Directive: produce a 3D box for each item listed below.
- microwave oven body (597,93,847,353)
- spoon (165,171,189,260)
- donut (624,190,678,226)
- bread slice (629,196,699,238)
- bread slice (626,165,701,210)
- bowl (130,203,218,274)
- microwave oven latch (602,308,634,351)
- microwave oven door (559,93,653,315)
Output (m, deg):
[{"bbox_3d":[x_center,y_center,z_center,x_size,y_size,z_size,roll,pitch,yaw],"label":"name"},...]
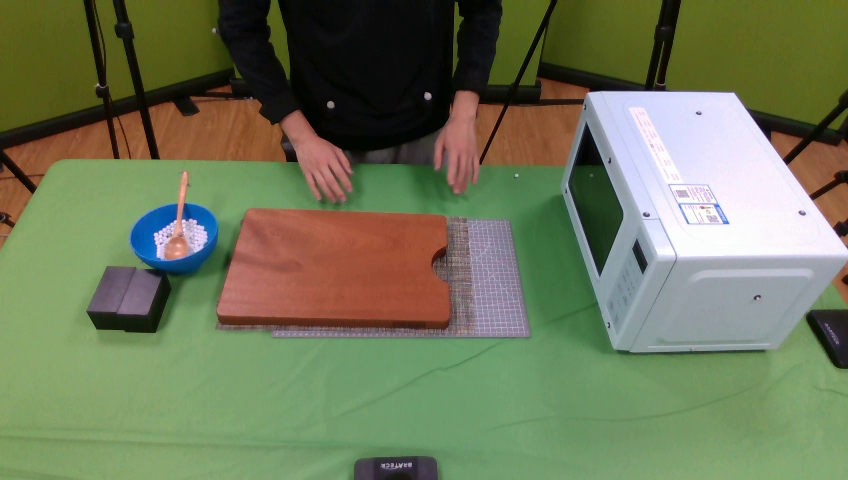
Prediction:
[{"bbox_3d":[0.475,-0.041,1.109,0.326,0.261,0.438,-1,45,-4],"label":"microwave oven body"},{"bbox_3d":[-0.452,-0.046,1.129,0.041,0.022,0.193,-2,69,-1],"label":"spoon"},{"bbox_3d":[0.440,-0.062,1.172,0.099,0.048,0.098,-6,29,4],"label":"donut"},{"bbox_3d":[0.472,-0.046,1.195,0.131,0.019,0.104,8,42,11],"label":"bread slice"},{"bbox_3d":[0.454,-0.097,1.142,0.135,0.018,0.106,5,42,-19],"label":"bread slice"},{"bbox_3d":[-0.450,0.010,1.116,0.151,0.077,0.150,3,45,-3],"label":"bowl"},{"bbox_3d":[0.332,0.153,1.044,0.030,0.029,0.078,-1,45,-4],"label":"microwave oven latch"},{"bbox_3d":[0.327,-0.074,1.123,0.039,0.245,0.353,-1,46,-5],"label":"microwave oven door"}]
